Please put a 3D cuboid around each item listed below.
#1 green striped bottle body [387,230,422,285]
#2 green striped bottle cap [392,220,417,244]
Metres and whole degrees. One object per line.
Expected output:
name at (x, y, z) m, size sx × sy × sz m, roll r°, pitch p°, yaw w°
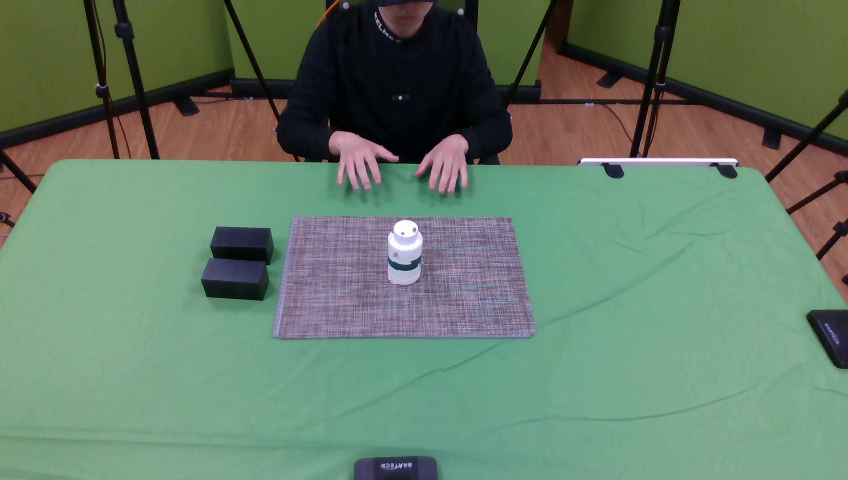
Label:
green striped bottle body at (-0.036, 0.021, 1.102) m, size 0.063 × 0.120 × 0.063 m, roll 2°, pitch 46°, yaw -2°
green striped bottle cap at (-0.035, -0.015, 1.065) m, size 0.044 × 0.020 × 0.044 m, roll 4°, pitch 44°, yaw -4°
